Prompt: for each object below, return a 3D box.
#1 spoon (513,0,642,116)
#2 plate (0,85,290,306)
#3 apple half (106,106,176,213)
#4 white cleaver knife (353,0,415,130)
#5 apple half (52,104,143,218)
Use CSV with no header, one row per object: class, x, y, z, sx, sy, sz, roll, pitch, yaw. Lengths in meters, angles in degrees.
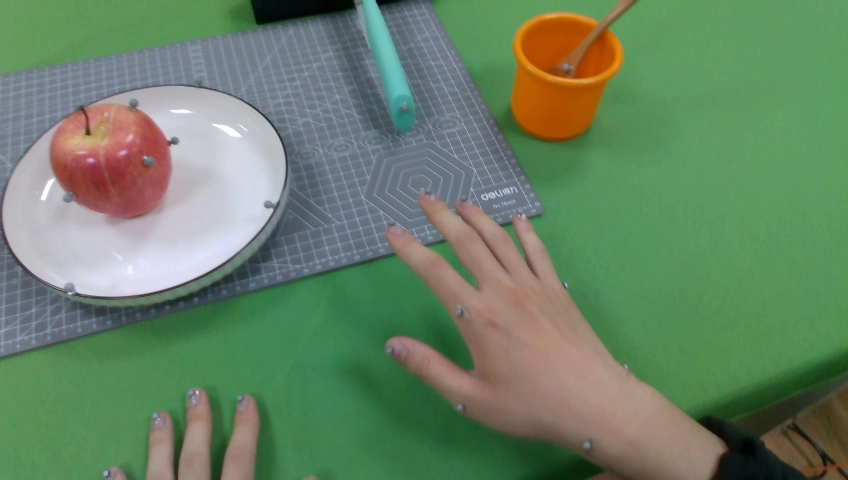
spoon,0.153,-0.178,0.519,0.022,0.194,0.041,16,38,-47
plate,-0.208,-0.037,0.472,0.209,0.038,0.207,1,56,-2
apple half,-0.203,-0.060,0.455,0.033,0.082,0.080,-7,56,-1
white cleaver knife,-0.055,-0.224,0.584,0.021,0.066,0.284,-13,68,-9
apple half,-0.242,-0.057,0.452,0.053,0.075,0.080,-6,59,-1
